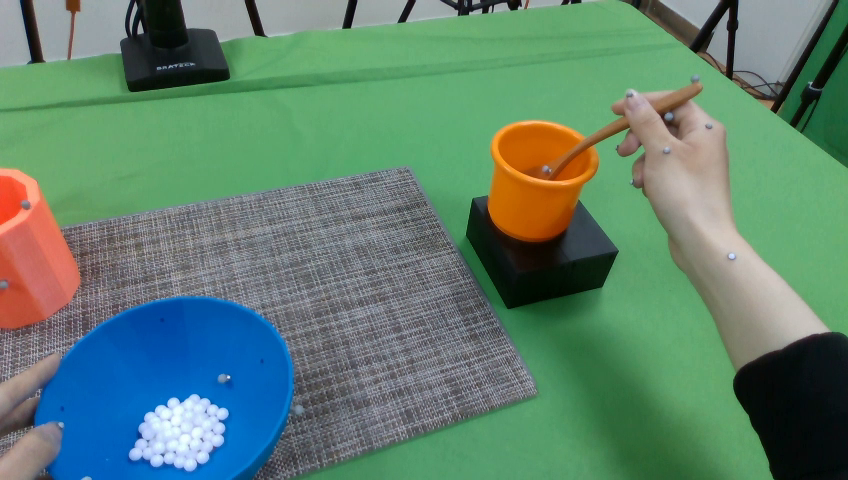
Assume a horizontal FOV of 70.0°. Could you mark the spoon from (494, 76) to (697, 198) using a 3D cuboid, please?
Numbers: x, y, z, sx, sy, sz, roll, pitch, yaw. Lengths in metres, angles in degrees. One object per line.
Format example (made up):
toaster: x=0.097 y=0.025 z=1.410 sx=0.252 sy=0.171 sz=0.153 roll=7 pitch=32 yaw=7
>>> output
spoon: x=0.134 y=-0.082 z=0.506 sx=0.022 sy=0.193 sz=0.041 roll=40 pitch=45 yaw=-18

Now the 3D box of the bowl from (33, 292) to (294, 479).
bowl: x=-0.160 y=0.117 z=0.401 sx=0.151 sy=0.077 sz=0.150 roll=4 pitch=46 yaw=-3

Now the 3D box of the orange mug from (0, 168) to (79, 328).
orange mug: x=-0.343 y=-0.006 z=0.484 sx=0.083 sy=0.101 sz=0.125 roll=-20 pitch=56 yaw=-24
